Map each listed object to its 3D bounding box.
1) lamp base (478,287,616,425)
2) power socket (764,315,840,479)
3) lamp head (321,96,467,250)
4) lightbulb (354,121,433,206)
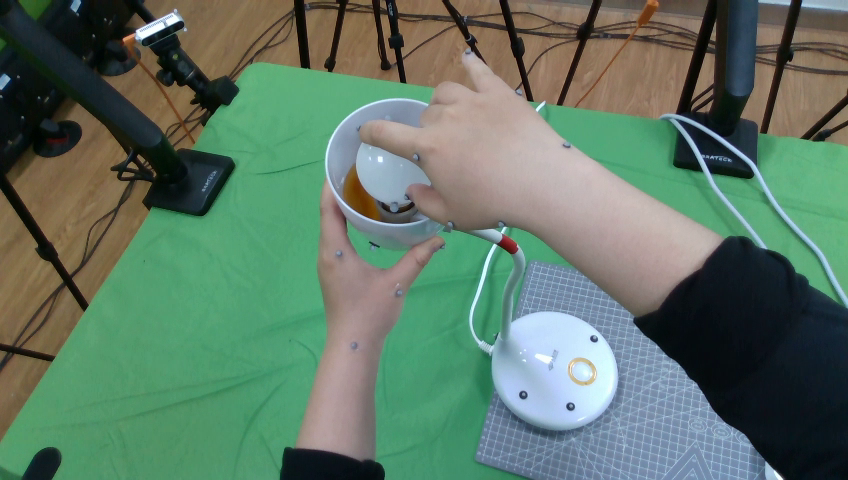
[{"bbox_3d":[0.144,0.118,0.724,0.178,0.182,0.159,6,58,14],"label":"lamp base"},{"bbox_3d":[0.451,0.191,0.728,0.072,0.033,0.225,12,59,13],"label":"power socket"},{"bbox_3d":[-0.019,-0.040,0.508,0.112,0.124,0.111,-1,66,4],"label":"lamp head"},{"bbox_3d":[-0.024,-0.053,0.478,0.059,0.108,0.059,1,73,-2],"label":"lightbulb"}]
